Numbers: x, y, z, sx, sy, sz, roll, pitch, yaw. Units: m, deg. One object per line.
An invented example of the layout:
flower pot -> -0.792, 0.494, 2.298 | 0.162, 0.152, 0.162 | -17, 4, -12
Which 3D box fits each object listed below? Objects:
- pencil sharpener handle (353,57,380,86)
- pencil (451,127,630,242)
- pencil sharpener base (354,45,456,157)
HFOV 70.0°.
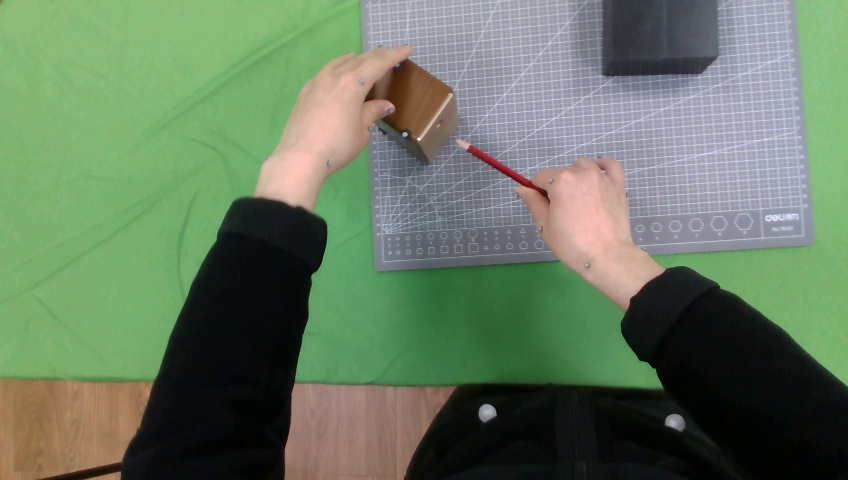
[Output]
pencil sharpener handle -> -0.059, -0.167, 0.594 | 0.030, 0.068, 0.036 | 36, 100, 7
pencil -> 0.107, -0.053, 0.562 | 0.194, 0.012, 0.012 | 33, 91, 1
pencil sharpener base -> -0.018, -0.135, 0.601 | 0.076, 0.107, 0.061 | 36, 92, 7
